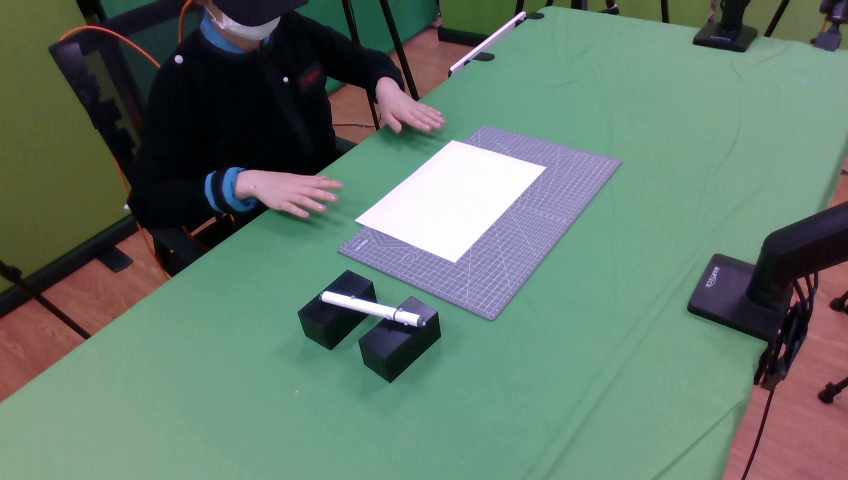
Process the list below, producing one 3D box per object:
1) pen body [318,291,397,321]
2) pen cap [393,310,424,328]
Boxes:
[{"bbox_3d":[-0.076,0.089,0.801,0.143,0.017,0.017,12,44,21],"label":"pen body"},{"bbox_3d":[-0.019,0.102,0.778,0.038,0.017,0.017,12,44,21],"label":"pen cap"}]
